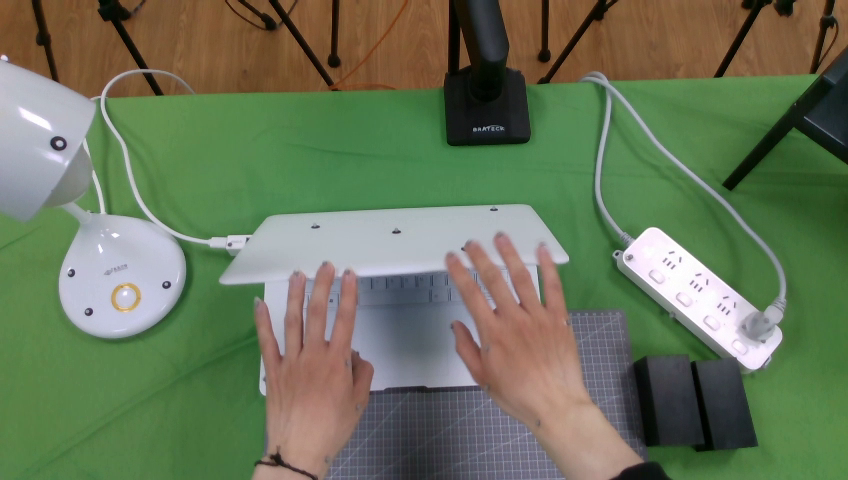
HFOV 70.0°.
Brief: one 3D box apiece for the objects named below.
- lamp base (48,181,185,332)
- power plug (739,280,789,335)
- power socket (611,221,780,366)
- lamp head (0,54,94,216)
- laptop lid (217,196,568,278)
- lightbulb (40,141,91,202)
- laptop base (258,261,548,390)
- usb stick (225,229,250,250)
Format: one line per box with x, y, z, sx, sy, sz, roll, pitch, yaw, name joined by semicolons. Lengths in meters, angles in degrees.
-0.397;0.002;0.714;0.160;0.181;0.178;-32;70;-11;lamp base
0.416;0.087;0.736;0.072;0.053;0.035;-32;72;-13;power plug
0.344;0.066;0.769;0.072;0.033;0.225;-42;75;-14;power socket
-0.330;-0.092;0.447;0.124;0.112;0.112;31;66;-33;lamp head
-0.033;-0.012;0.703;0.357;0.240;0.013;-2;109;1;laptop lid
-0.310;-0.071;0.460;0.059;0.109;0.059;-26;44;29;lightbulb
-0.030;0.066;0.778;0.354;0.023;0.234;-3;71;-1;laptop base
-0.226;0.001;0.790;0.059;0.027;0.021;2;63;-3;usb stick
